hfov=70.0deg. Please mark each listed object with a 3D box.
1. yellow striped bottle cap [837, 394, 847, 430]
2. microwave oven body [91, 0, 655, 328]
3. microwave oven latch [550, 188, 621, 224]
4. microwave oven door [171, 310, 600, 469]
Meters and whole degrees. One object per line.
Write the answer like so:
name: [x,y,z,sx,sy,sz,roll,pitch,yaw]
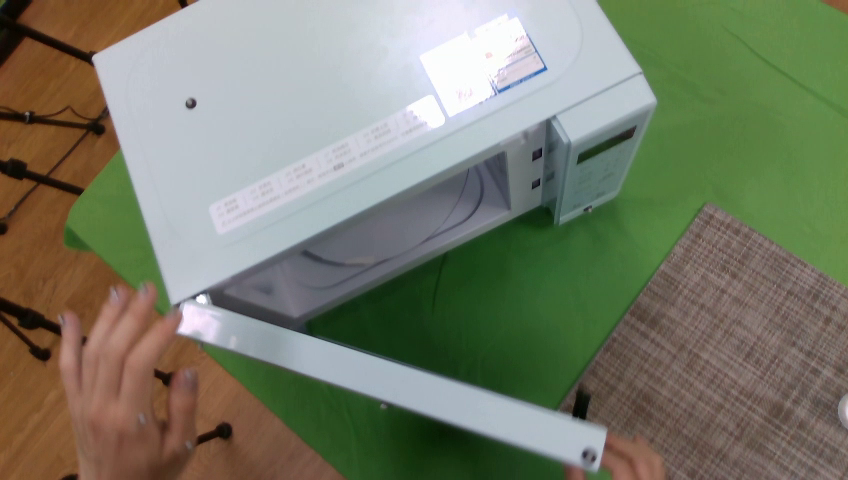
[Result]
yellow striped bottle cap: [0.451,0.178,0.622,0.044,0.019,0.044,-3,74,10]
microwave oven body: [-0.051,-0.121,0.654,0.442,0.262,0.324,-27,73,2]
microwave oven latch: [0.185,-0.048,0.697,0.079,0.030,0.030,-25,73,3]
microwave oven door: [-0.022,0.135,0.577,0.355,0.245,0.039,14,78,12]
